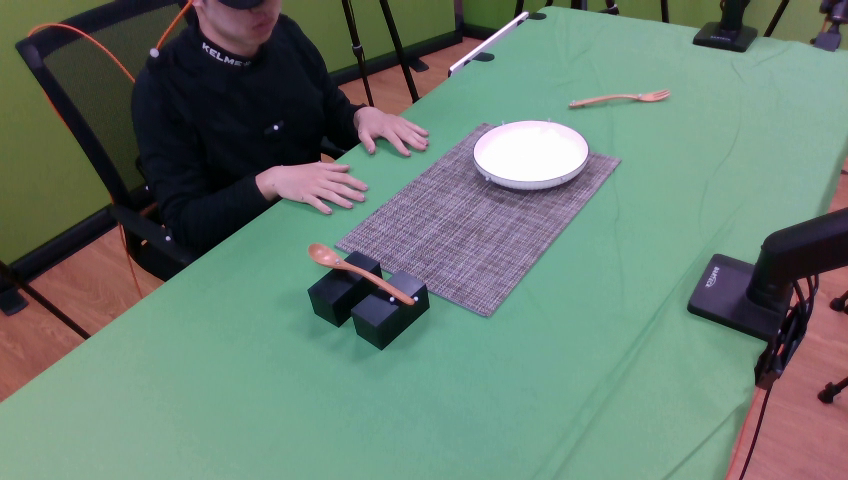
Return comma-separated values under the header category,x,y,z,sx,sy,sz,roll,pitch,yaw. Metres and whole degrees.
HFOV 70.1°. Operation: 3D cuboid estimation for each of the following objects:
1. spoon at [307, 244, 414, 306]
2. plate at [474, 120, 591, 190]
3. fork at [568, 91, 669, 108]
category,x,y,z,sx,sy,sz,roll,pitch,yaw
spoon,-0.091,0.048,0.848,0.192,0.021,0.042,23,26,30
plate,0.196,-0.151,1.099,0.207,0.039,0.206,-4,40,4
fork,0.402,-0.290,1.252,0.207,0.019,0.028,-4,47,1
